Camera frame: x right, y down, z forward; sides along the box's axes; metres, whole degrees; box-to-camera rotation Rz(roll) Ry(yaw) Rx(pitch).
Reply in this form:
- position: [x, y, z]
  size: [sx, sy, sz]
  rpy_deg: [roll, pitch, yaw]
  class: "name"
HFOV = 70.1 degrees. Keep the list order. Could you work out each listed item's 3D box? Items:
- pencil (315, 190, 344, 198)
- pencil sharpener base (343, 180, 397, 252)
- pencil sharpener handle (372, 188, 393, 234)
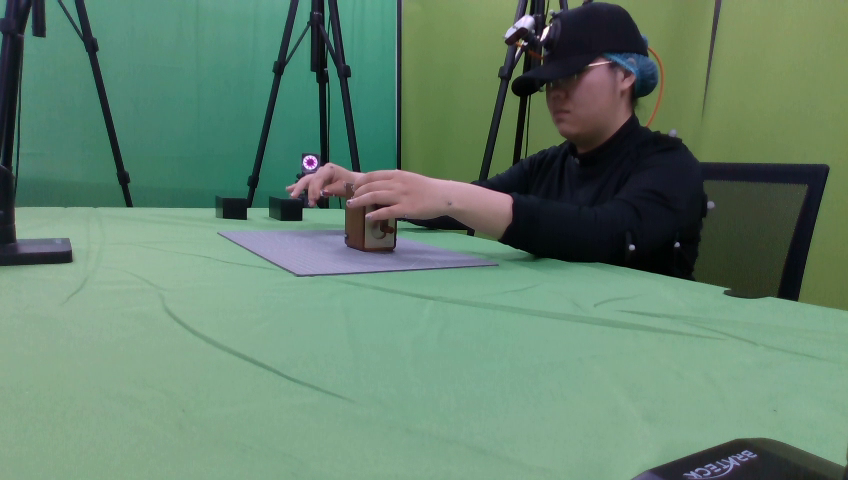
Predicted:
- position: [-0.152, -0.079, 1.060]
  size: [0.012, 0.012, 0.193]
  rpy_deg: [-2, 7, -32]
  class: "pencil"
- position: [-0.085, -0.038, 0.956]
  size: [0.062, 0.107, 0.076]
  rpy_deg: [-2, 9, -33]
  class: "pencil sharpener base"
- position: [-0.057, -0.044, 0.913]
  size: [0.036, 0.067, 0.030]
  rpy_deg: [-4, 10, -32]
  class: "pencil sharpener handle"
